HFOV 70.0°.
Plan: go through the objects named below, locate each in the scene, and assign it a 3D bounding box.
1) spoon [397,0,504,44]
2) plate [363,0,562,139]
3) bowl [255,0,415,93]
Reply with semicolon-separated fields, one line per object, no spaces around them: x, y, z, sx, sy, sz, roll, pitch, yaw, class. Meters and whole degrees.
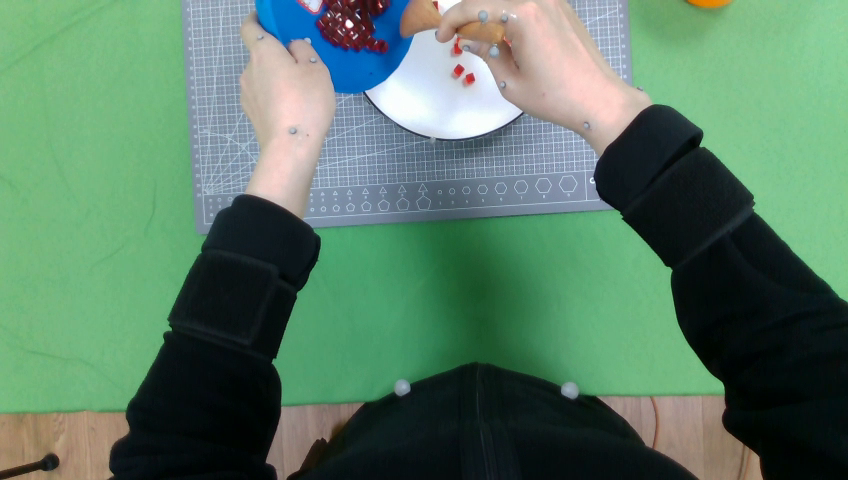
0.016;-0.159;0.441;0.022;0.191;0.041;23;103;-31;spoon
0.029;-0.201;0.593;0.209;0.038;0.209;0;91;3;plate
-0.084;-0.204;0.503;0.076;0.153;0.151;24;92;41;bowl
